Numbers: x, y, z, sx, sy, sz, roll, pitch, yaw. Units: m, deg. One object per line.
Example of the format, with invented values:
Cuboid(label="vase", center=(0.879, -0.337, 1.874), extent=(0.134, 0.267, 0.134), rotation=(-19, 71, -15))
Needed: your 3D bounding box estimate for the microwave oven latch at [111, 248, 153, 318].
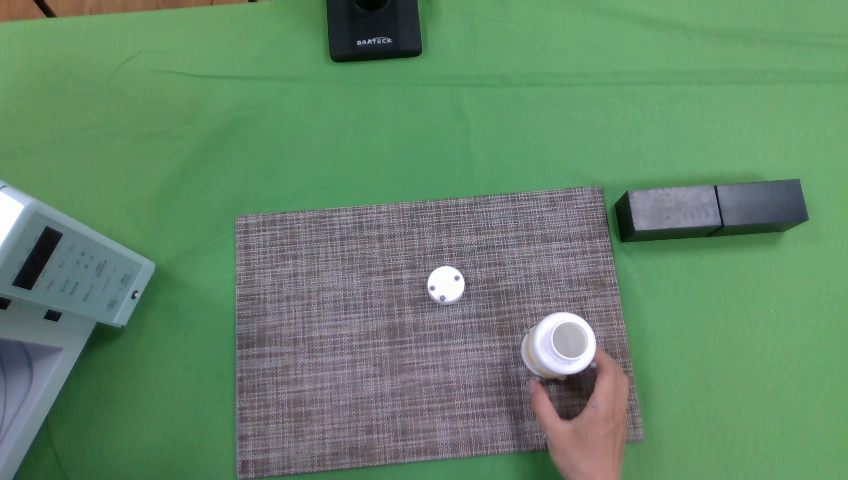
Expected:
Cuboid(label="microwave oven latch", center=(-0.336, 0.047, 0.682), extent=(0.030, 0.029, 0.079), rotation=(24, 78, 5))

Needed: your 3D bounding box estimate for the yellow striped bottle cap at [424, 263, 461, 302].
Cuboid(label="yellow striped bottle cap", center=(0.022, 0.050, 0.710), extent=(0.044, 0.019, 0.044), rotation=(0, 76, 1))

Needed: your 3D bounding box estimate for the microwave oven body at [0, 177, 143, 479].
Cuboid(label="microwave oven body", center=(-0.541, 0.126, 0.561), extent=(0.325, 0.261, 0.440), rotation=(22, 77, 5))

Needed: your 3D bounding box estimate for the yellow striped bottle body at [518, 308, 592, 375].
Cuboid(label="yellow striped bottle body", center=(0.139, 0.108, 0.641), extent=(0.063, 0.121, 0.062), rotation=(0, 75, 0))
